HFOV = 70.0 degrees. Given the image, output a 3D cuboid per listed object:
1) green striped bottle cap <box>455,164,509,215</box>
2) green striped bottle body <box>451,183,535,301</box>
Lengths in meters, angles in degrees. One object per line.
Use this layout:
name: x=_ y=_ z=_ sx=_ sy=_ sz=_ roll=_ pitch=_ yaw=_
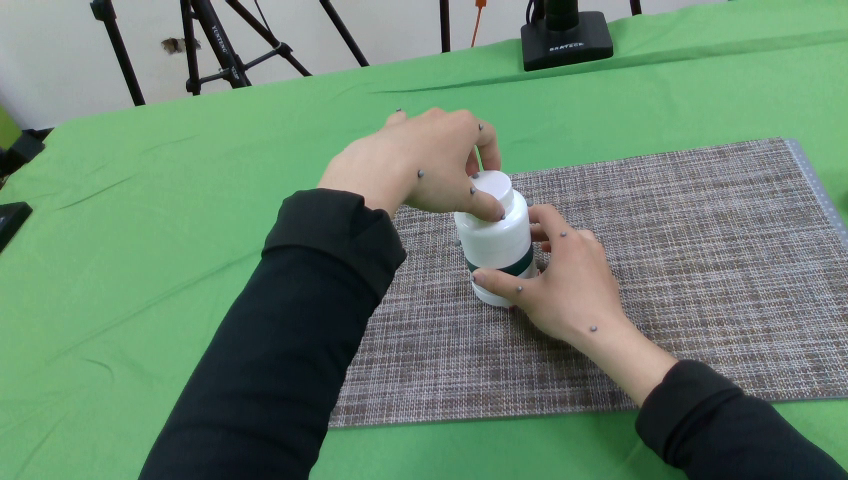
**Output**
green striped bottle cap: x=0.048 y=-0.041 z=0.499 sx=0.044 sy=0.020 sz=0.044 roll=-4 pitch=53 yaw=6
green striped bottle body: x=0.061 y=-0.005 z=0.534 sx=0.063 sy=0.120 sz=0.062 roll=-9 pitch=45 yaw=10
